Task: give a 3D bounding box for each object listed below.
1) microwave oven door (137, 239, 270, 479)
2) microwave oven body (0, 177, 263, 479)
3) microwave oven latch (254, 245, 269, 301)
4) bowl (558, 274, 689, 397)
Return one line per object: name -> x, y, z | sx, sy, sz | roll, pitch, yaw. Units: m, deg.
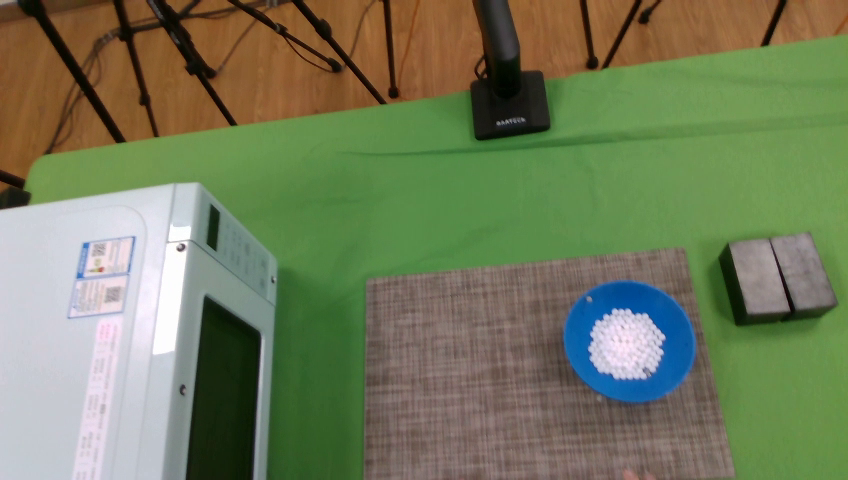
microwave oven door -> -0.246, 0.206, 0.703 | 0.039, 0.246, 0.353 | -8, 65, 7
microwave oven body -> -0.392, 0.190, 0.742 | 0.326, 0.262, 0.438 | -8, 66, 6
microwave oven latch -> -0.242, 0.049, 0.884 | 0.030, 0.030, 0.078 | -8, 66, 6
bowl -> 0.243, 0.126, 0.756 | 0.151, 0.077, 0.150 | -4, 66, 9
